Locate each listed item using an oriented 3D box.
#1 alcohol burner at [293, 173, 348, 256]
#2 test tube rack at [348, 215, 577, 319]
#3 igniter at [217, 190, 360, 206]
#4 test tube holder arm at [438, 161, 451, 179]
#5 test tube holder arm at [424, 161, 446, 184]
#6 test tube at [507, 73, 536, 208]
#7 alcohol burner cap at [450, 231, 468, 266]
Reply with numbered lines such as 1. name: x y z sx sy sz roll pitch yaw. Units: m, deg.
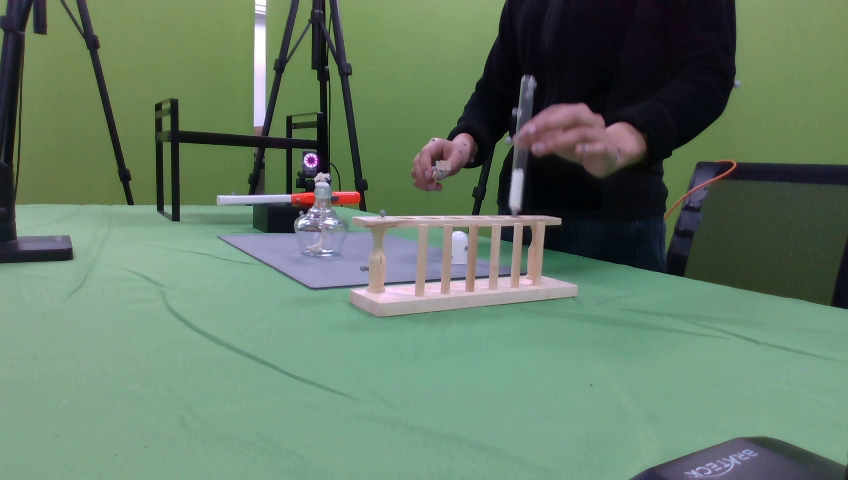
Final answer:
1. alcohol burner: -0.147 -0.036 0.859 0.078 0.119 0.078 4 8 0
2. test tube rack: 0.048 0.021 0.619 0.244 0.085 0.066 -2 9 -31
3. igniter: -0.248 -0.080 1.150 0.278 0.025 0.057 -5 7 -29
4. test tube holder arm: 0.026 -0.098 0.850 0.010 0.015 0.087 11 -2 -6
5. test tube holder arm: 0.015 -0.098 0.894 0.013 0.015 0.178 11 -2 -7
6. test tube: 0.108 -0.110 0.672 0.017 0.150 0.017 7 -1 0
7. alcohol burner cap: 0.046 0.011 0.838 0.034 0.048 0.034 2 6 0
